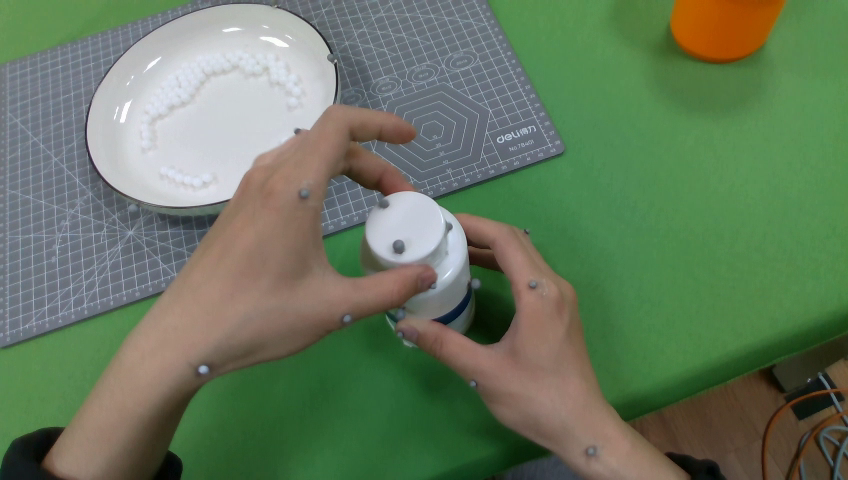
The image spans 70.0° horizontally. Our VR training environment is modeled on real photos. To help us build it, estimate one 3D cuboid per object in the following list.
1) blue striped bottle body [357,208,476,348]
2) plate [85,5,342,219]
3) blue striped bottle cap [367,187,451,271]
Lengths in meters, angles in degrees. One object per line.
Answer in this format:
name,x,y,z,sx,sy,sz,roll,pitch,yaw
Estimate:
blue striped bottle body,-0.003,0.019,0.370,0.063,0.122,0.062,-3,63,7
plate,-0.166,-0.104,0.497,0.207,0.039,0.206,-3,63,6
blue striped bottle cap,-0.008,-0.006,0.324,0.044,0.021,0.044,-3,69,8
